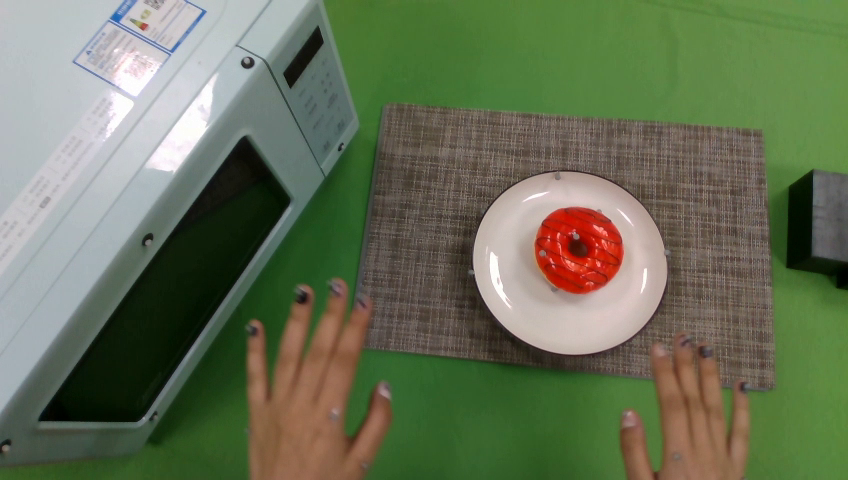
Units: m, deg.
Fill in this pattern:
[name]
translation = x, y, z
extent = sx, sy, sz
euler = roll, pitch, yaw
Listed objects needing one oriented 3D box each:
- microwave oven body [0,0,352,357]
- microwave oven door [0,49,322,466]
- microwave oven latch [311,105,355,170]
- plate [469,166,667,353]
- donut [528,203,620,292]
[microwave oven body]
translation = -0.330, -0.072, 0.587
extent = 0.325, 0.261, 0.440
euler = 29, 78, 9
[microwave oven door]
translation = -0.225, 0.031, 0.549
extent = 0.039, 0.245, 0.355
euler = 29, 77, 10
[microwave oven latch]
translation = -0.109, -0.122, 0.695
extent = 0.030, 0.029, 0.079
euler = 29, 78, 9
[plate]
translation = 0.153, 0.021, 0.661
extent = 0.209, 0.038, 0.208
euler = 0, 74, 2
[donut]
translation = 0.161, 0.008, 0.653
extent = 0.099, 0.048, 0.098
euler = 0, 76, -1
